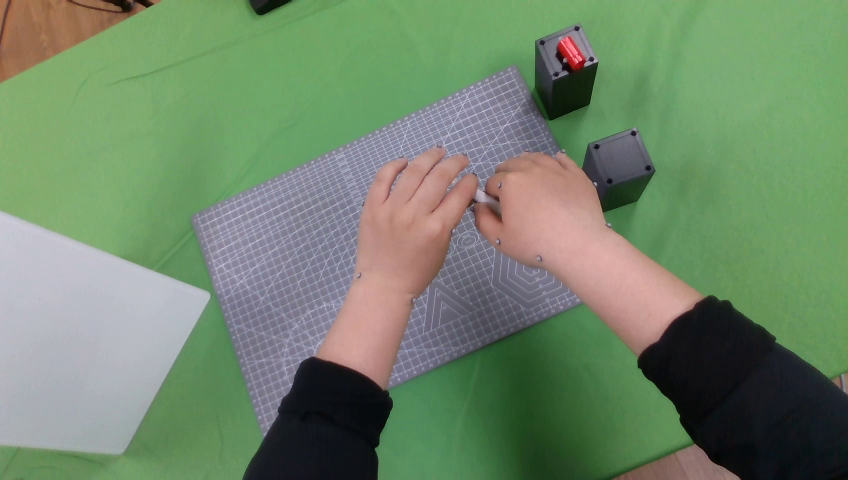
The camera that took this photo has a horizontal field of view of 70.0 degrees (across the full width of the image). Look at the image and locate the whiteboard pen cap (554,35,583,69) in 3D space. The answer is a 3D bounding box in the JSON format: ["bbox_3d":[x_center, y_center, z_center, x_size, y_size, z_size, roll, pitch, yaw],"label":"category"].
[{"bbox_3d":[0.149,-0.193,0.624,0.017,0.017,0.032,-30,76,2],"label":"whiteboard pen cap"}]

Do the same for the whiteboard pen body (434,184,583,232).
[{"bbox_3d":[0.070,-0.032,0.533,0.140,0.017,0.017,17,80,23],"label":"whiteboard pen body"}]

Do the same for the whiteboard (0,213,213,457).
[{"bbox_3d":[-0.427,0.086,0.643,0.142,0.308,0.217,23,82,34],"label":"whiteboard"}]
